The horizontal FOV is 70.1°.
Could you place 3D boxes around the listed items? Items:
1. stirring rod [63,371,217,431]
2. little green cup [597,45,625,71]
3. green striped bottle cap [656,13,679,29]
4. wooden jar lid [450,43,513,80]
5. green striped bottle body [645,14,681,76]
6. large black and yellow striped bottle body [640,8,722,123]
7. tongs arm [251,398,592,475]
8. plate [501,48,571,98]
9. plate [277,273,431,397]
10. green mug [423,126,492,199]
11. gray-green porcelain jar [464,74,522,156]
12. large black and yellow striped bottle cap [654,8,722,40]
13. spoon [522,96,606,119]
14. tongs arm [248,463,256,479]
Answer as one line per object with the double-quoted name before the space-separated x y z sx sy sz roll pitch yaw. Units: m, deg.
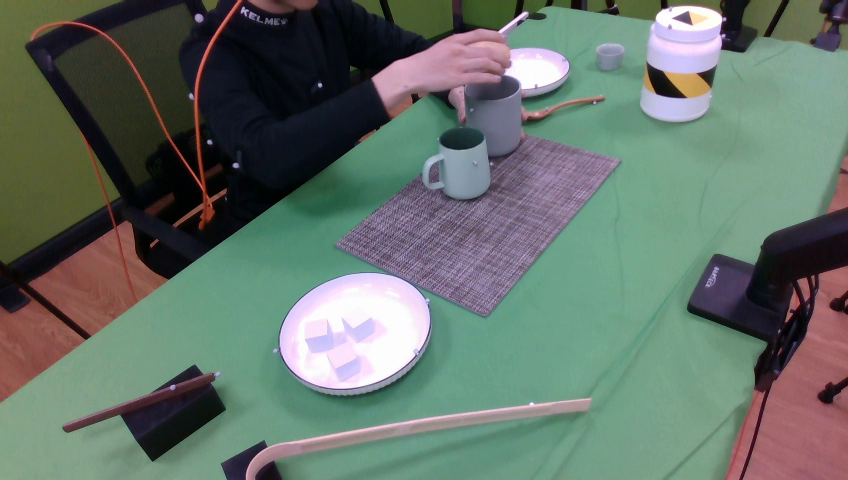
"stirring rod" -0.337 0.192 0.723 0.177 0.014 0.005 -18 43 -12
"little green cup" 0.423 -0.413 1.376 0.061 0.039 0.061 -3 41 3
"green striped bottle cap" 0.515 -0.463 1.278 0.044 0.020 0.044 -6 42 6
"wooden jar lid" 0.099 -0.306 1.040 0.108 0.021 0.108 -7 41 6
"green striped bottle body" 0.520 -0.424 1.312 0.063 0.120 0.063 -4 41 4
"large black and yellow striped bottle body" 0.493 -0.334 1.161 0.131 0.185 0.130 -4 41 4
"tongs arm" 0.008 0.213 0.675 0.389 0.028 0.028 -5 46 -11
"plate" 0.223 -0.371 1.357 0.209 0.038 0.208 -4 41 4
"plate" -0.091 0.129 0.821 0.207 0.039 0.206 -4 40 4
"green mug" 0.055 -0.126 1.040 0.126 0.105 0.091 -25 44 -18
"gray-green porcelain jar" 0.131 -0.230 1.132 0.106 0.127 0.105 -4 41 4
"large black and yellow striped bottle cap" 0.483 -0.397 1.108 0.115 0.019 0.114 -3 41 3
"spoon" 0.291 -0.277 1.249 0.194 0.022 0.041 -17 25 -11
"tongs arm" 0.012 0.262 0.615 0.385 0.026 0.050 2 41 -2
